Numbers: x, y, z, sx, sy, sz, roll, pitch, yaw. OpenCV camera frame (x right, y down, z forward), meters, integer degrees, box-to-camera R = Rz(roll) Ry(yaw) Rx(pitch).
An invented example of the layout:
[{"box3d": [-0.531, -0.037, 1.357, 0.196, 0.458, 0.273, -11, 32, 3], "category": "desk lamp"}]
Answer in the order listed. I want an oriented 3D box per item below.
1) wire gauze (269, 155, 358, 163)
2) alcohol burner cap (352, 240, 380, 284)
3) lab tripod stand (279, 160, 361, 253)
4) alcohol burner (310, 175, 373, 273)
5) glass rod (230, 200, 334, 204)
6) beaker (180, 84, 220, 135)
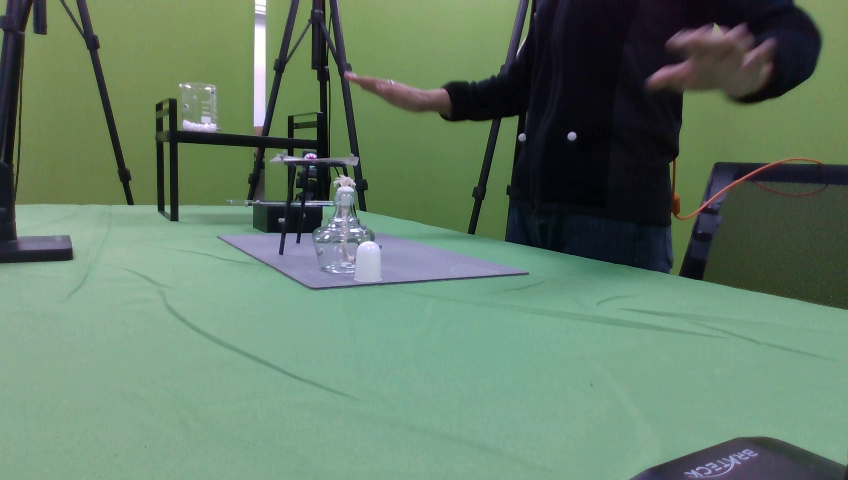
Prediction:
[{"box3d": [-0.159, -0.118, 0.886, 0.122, 0.011, 0.125, 1, 7, -9], "category": "wire gauze"}, {"box3d": [-0.065, 0.023, 0.690, 0.034, 0.048, 0.034, 3, 10, 0], "category": "alcohol burner cap"}, {"box3d": [-0.166, -0.052, 0.897, 0.148, 0.131, 0.148, 0, 7, 0], "category": "lab tripod stand"}, {"box3d": [-0.100, -0.020, 0.740, 0.078, 0.119, 0.078, 1, 6, 0], "category": "alcohol burner"}, {"box3d": [-0.267, -0.072, 1.155, 0.201, 0.008, 0.008, -1, 8, -28], "category": "glass rod"}, {"box3d": [-0.475, -0.275, 1.281, 0.073, 0.100, 0.084, 7, 9, 36], "category": "beaker"}]
